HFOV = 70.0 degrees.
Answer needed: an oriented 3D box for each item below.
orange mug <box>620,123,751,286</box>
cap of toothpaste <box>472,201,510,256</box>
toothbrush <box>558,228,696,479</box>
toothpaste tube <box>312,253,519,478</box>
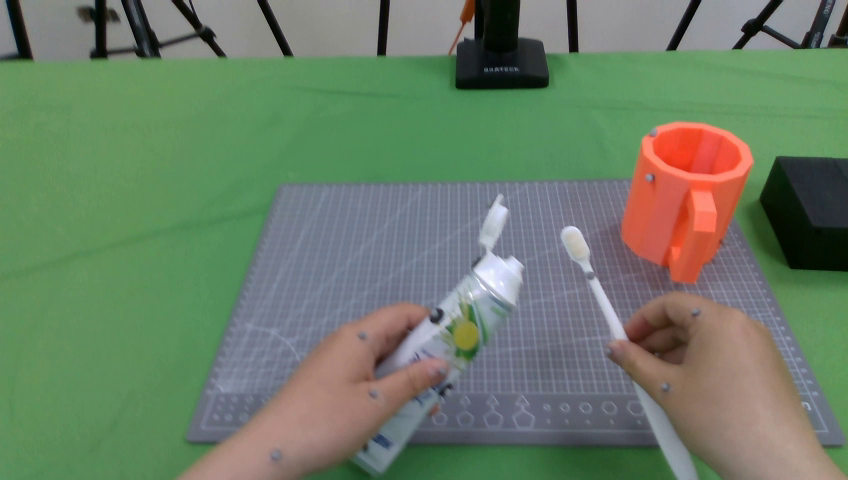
[{"bbox_3d":[0.218,-0.026,0.511,0.083,0.102,0.125,5,39,9],"label":"orange mug"},{"bbox_3d":[0.043,-0.007,0.372,0.011,0.037,0.037,28,50,18],"label":"cap of toothpaste"},{"bbox_3d":[0.127,0.075,0.377,0.014,0.016,0.181,-26,88,6],"label":"toothbrush"},{"bbox_3d":[0.001,0.074,0.375,0.055,0.165,0.034,38,5,-6],"label":"toothpaste tube"}]
